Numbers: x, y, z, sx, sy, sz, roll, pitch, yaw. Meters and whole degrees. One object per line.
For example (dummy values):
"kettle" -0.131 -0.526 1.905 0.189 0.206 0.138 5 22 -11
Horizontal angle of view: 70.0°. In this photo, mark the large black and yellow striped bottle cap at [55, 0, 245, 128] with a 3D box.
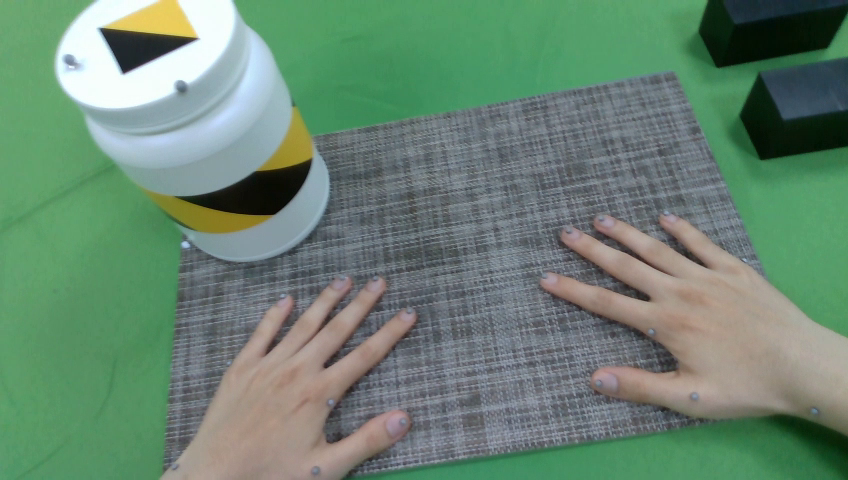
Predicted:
"large black and yellow striped bottle cap" -0.169 -0.119 0.376 0.115 0.019 0.114 -3 61 5

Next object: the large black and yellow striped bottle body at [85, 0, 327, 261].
"large black and yellow striped bottle body" -0.157 -0.080 0.449 0.130 0.185 0.129 -3 61 6
